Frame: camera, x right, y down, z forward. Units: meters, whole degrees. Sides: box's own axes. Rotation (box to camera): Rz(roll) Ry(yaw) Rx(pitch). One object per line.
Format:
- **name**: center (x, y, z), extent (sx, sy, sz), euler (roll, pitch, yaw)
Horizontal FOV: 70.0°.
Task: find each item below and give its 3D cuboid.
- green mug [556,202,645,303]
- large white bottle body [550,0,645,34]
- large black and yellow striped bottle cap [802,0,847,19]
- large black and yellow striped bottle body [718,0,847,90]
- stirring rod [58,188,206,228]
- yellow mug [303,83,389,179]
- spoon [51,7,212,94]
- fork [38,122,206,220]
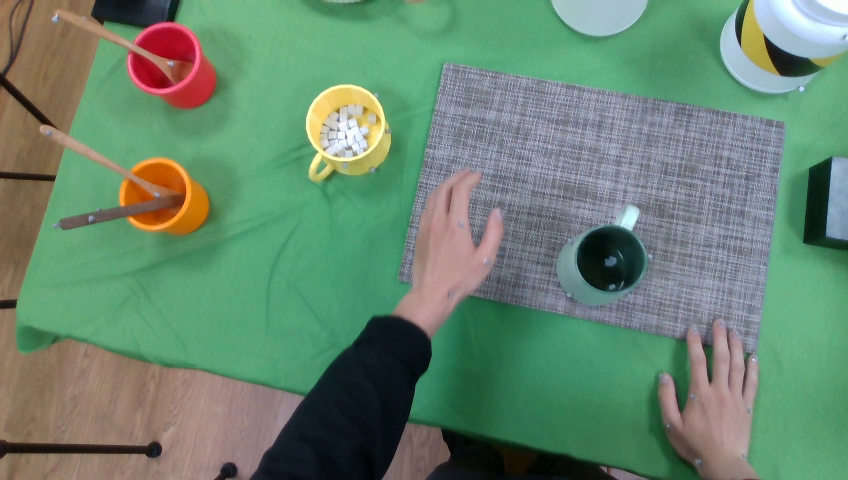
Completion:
- **green mug**: center (0.215, 0.011, 0.717), extent (0.092, 0.105, 0.125), euler (28, 84, 8)
- **large white bottle body**: center (0.226, -0.352, 0.734), extent (0.130, 0.185, 0.130), euler (-1, 81, 4)
- **large black and yellow striped bottle cap**: center (0.439, -0.286, 0.628), extent (0.115, 0.019, 0.114), euler (0, 82, 2)
- **large black and yellow striped bottle body**: center (0.445, -0.271, 0.710), extent (0.131, 0.184, 0.130), euler (-1, 81, 4)
- **stirring rod**: center (-0.352, -0.042, 0.744), extent (0.176, 0.006, 0.014), euler (-20, 79, -43)
- **yellow mug**: center (-0.108, -0.131, 0.780), extent (0.099, 0.064, 0.131), euler (37, 86, 7)
- **spoon**: center (-0.367, -0.243, 0.773), extent (0.195, 0.021, 0.041), euler (25, 80, -37)
- **fork**: center (-0.365, -0.082, 0.745), extent (0.209, 0.018, 0.028), euler (35, 79, -36)
